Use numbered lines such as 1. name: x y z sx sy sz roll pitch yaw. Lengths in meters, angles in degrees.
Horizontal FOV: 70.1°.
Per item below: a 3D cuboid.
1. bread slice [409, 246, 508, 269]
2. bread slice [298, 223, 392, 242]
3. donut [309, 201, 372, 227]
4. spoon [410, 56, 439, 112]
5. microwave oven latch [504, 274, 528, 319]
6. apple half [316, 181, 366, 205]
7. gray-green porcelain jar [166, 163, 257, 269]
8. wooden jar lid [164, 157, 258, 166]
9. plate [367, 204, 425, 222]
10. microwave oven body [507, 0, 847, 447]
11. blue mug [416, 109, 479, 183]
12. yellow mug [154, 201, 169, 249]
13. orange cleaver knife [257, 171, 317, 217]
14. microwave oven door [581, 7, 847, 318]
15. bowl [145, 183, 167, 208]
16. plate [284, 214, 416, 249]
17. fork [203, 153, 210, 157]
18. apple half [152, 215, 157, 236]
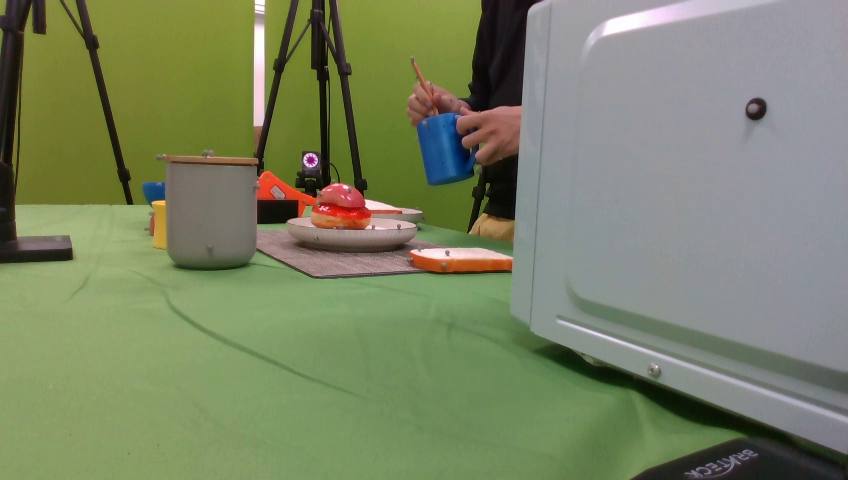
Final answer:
1. bread slice: 0.048 0.021 0.816 0.132 0.019 0.104 0 7 -24
2. bread slice: -0.120 -0.014 0.970 0.106 0.018 0.135 9 10 41
3. donut: -0.132 -0.042 0.959 0.099 0.048 0.099 2 8 0
4. spoon: 0.016 -0.223 1.024 0.021 0.193 0.042 -19 -1 17
5. microwave oven latch: 0.100 0.041 0.471 0.079 0.029 0.030 -1 7 -28
6. apple half: -0.128 -0.077 0.954 0.081 0.033 0.081 6 12 -1
7. gray-green porcelain jar: -0.263 -0.031 0.754 0.106 0.126 0.106 2 7 0
8. wooden jar lid: -0.261 -0.093 0.746 0.108 0.020 0.108 0 9 0
9. plate: -0.102 -0.053 1.299 0.209 0.038 0.209 2 8 0
10. microwave oven body: 0.331 -0.042 0.425 0.444 0.260 0.324 -2 8 -31
11. blue mug: 0.047 -0.160 1.009 0.083 0.105 0.116 -10 -3 -43
12. yellow mug: -0.337 -0.022 0.899 0.130 0.064 0.100 8 9 34
13. orange cleaver knife: -0.283 -0.087 1.343 0.212 0.077 0.012 24 -16 -41
14. microwave oven door: 0.295 -0.067 0.570 0.358 0.243 0.039 -3 8 -31
15. bowl: -0.459 -0.069 1.175 0.151 0.077 0.151 2 7 0
16. plate: -0.116 -0.014 0.967 0.208 0.039 0.207 2 7 0
17. fork: -0.480 -0.136 1.411 0.028 0.018 0.207 0 -34 -1
18. apple half: -0.415 -0.034 1.017 0.081 0.053 0.074 1 10 -8
